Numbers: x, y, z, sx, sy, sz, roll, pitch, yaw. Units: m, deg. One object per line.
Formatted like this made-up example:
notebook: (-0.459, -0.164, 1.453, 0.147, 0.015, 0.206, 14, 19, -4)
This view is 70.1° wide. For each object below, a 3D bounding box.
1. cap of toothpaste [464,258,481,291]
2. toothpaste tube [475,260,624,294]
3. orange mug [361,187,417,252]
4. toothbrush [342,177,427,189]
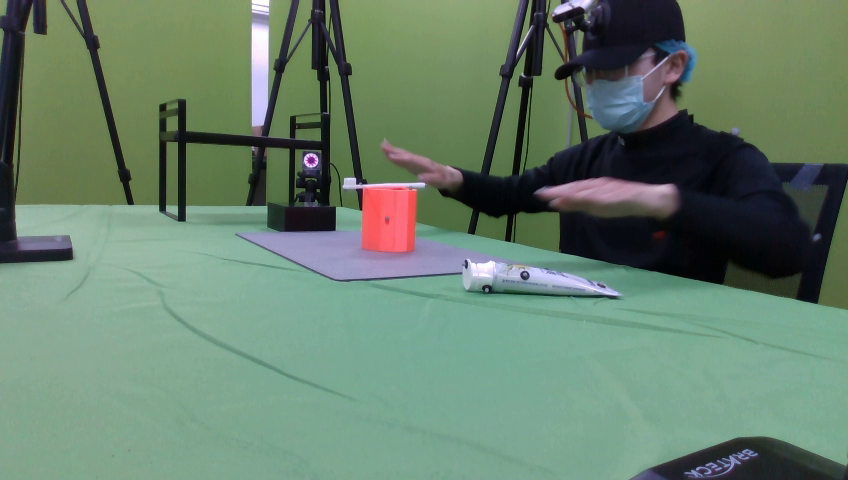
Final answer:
cap of toothpaste: (0.053, 0.037, 0.660, 0.011, 0.037, 0.037, -2, 8, -15)
toothpaste tube: (0.134, 0.045, 0.668, 0.165, 0.034, 0.055, 5, 13, -7)
orange mug: (-0.054, -0.039, 0.962, 0.083, 0.101, 0.126, 2, 12, 1)
toothbrush: (-0.058, -0.089, 0.948, 0.014, 0.016, 0.183, 4, 7, 41)
